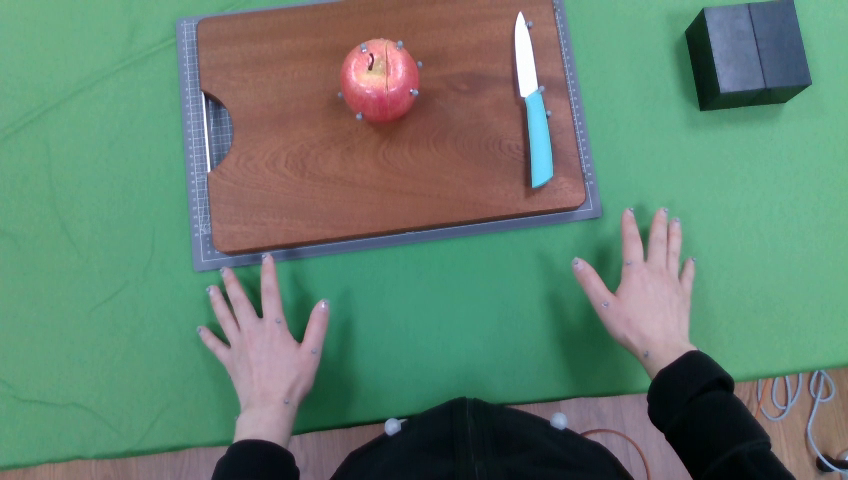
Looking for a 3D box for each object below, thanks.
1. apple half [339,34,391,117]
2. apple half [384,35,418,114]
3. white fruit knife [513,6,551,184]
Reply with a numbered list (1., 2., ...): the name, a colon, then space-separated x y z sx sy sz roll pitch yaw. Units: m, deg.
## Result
1. apple half: -0.061 -0.167 0.628 0.053 0.075 0.080 -3 84 4
2. apple half: -0.022 -0.169 0.627 0.033 0.081 0.081 -2 80 2
3. white fruit knife: 0.115 -0.161 0.656 0.027 0.016 0.206 -3 80 -14
